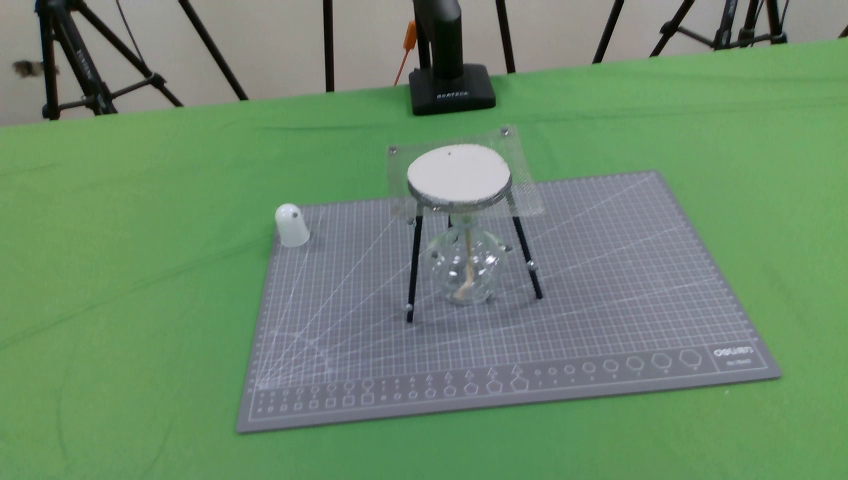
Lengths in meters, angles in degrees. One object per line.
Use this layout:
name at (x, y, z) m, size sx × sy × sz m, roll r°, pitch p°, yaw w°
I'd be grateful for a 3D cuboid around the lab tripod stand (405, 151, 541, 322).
lab tripod stand at (0.038, -0.004, 0.556) m, size 0.148 × 0.133 × 0.147 m, roll -2°, pitch 40°, yaw 2°

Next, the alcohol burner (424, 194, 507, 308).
alcohol burner at (0.038, 0.006, 0.560) m, size 0.078 × 0.120 × 0.077 m, roll -2°, pitch 41°, yaw 2°

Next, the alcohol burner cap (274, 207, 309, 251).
alcohol burner cap at (-0.145, -0.015, 0.659) m, size 0.034 × 0.048 × 0.033 m, roll -2°, pitch 43°, yaw 3°

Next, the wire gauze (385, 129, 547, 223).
wire gauze at (0.030, -0.054, 0.511) m, size 0.125 × 0.011 × 0.120 m, roll -5°, pitch 41°, yaw -1°
